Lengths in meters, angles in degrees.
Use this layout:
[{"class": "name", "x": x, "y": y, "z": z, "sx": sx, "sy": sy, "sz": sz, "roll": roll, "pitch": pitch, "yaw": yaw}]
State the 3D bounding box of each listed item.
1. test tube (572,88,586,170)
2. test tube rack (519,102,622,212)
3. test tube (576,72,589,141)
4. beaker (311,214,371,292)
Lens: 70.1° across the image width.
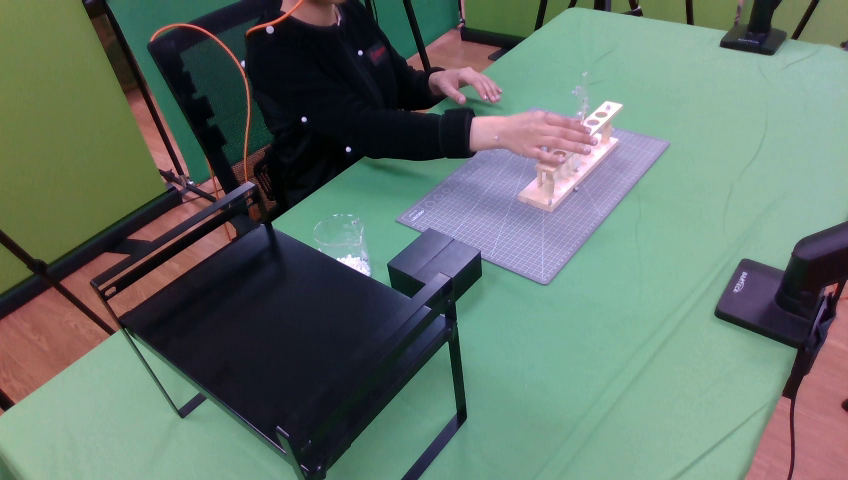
[{"class": "test tube", "x": 0.258, "y": -0.182, "z": 1.010, "sx": 0.017, "sy": 0.151, "sz": 0.017, "roll": -5, "pitch": 40, "yaw": 5}, {"class": "test tube rack", "x": 0.260, "y": -0.155, "z": 1.065, "sx": 0.066, "sy": 0.085, "sz": 0.243, "roll": 24, "pitch": 50, "yaw": 32}, {"class": "test tube", "x": 0.284, "y": -0.233, "z": 1.084, "sx": 0.017, "sy": 0.151, "sz": 0.017, "roll": -5, "pitch": 44, "yaw": 6}, {"class": "beaker", "x": -0.118, "y": 0.022, "z": 0.908, "sx": 0.083, "sy": 0.101, "sz": 0.074, "roll": 26, "pitch": 51, "yaw": 32}]
